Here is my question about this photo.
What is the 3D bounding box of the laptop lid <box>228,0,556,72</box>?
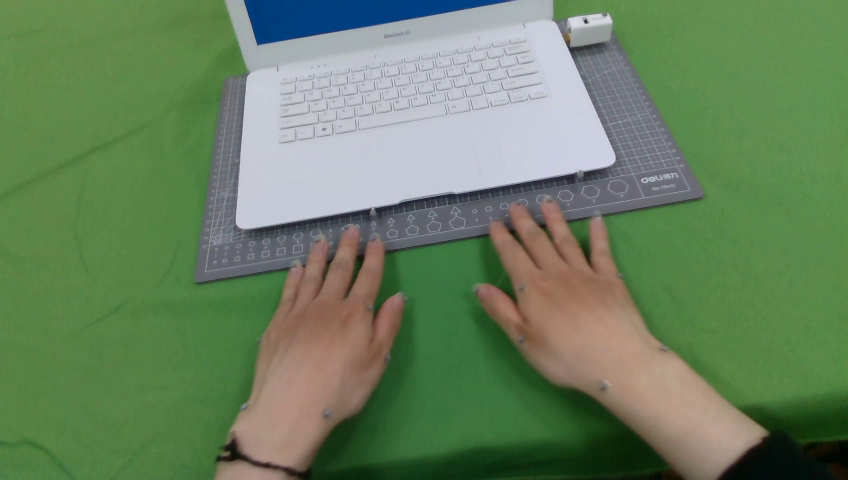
[{"bbox_3d":[-0.041,-0.313,0.626,0.357,0.244,0.013,-11,34,1],"label":"laptop lid"}]

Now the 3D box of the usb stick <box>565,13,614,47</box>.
[{"bbox_3d":[0.173,-0.227,0.657,0.059,0.027,0.021,-9,52,4],"label":"usb stick"}]

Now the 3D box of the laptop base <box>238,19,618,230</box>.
[{"bbox_3d":[-0.009,-0.125,0.620,0.354,0.023,0.233,-10,55,1],"label":"laptop base"}]
